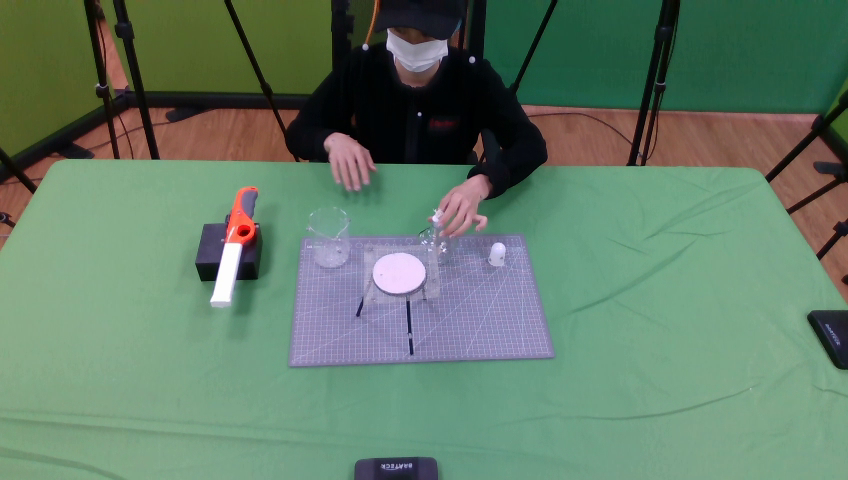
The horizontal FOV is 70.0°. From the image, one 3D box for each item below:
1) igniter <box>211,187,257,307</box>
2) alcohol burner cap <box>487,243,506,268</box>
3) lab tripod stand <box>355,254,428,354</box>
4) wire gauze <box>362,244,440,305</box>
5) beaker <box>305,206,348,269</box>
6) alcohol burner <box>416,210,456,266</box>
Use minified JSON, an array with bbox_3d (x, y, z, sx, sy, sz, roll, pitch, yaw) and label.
[{"bbox_3d":[-0.343,0.003,1.100,0.057,0.025,0.274,2,49,-4],"label":"igniter"},{"bbox_3d":[0.141,0.027,1.166,0.034,0.048,0.033,2,45,-2],"label":"alcohol burner cap"},{"bbox_3d":[-0.046,0.100,1.017,0.148,0.132,0.147,1,47,-1],"label":"lab tripod stand"},{"bbox_3d":[-0.038,0.051,0.971,0.121,0.011,0.124,-1,46,-4],"label":"wire gauze"},{"bbox_3d":[-0.177,0.001,1.126,0.074,0.101,0.083,-14,49,-16],"label":"beaker"},{"bbox_3d":[0.023,-0.009,1.141,0.078,0.120,0.077,2,44,-2],"label":"alcohol burner"}]
